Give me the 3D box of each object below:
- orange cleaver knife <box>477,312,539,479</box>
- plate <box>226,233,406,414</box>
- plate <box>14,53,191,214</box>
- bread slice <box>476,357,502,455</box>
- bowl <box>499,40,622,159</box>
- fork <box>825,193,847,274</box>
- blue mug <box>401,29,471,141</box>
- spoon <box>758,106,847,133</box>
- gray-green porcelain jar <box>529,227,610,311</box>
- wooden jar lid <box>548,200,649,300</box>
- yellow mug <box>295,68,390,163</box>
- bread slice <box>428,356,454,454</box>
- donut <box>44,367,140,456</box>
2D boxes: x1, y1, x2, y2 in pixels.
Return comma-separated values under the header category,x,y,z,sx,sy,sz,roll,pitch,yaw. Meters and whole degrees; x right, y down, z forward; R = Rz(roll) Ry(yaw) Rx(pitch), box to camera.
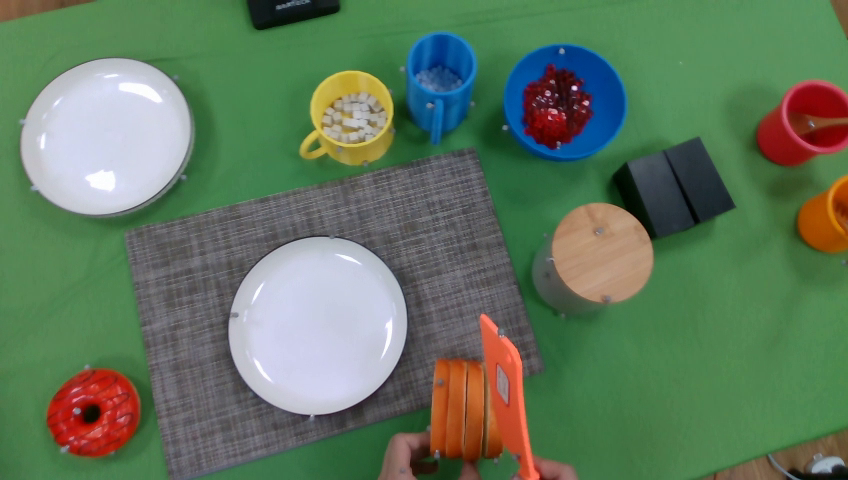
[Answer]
category,x,y,z,sx,sy,sz,roll,pitch,yaw
orange cleaver knife,0.077,0.165,0.529,0.012,0.076,0.212,-17,105,-17
plate,-0.124,0.096,0.713,0.209,0.038,0.208,1,77,-2
plate,-0.392,-0.130,0.754,0.208,0.039,0.206,1,78,-3
bread slice,0.069,0.178,0.649,0.019,0.132,0.104,1,78,0
bowl,0.164,-0.165,0.766,0.151,0.077,0.150,1,78,-2
fork,0.492,-0.010,0.711,0.028,0.018,0.207,46,36,1
blue mug,0.012,-0.181,0.749,0.082,0.106,0.116,4,77,-1
spoon,0.517,-0.149,0.744,0.192,0.022,0.041,11,67,46
gray-green porcelain jar,0.181,0.026,0.701,0.106,0.127,0.105,1,77,-3
wooden jar lid,0.183,0.011,0.640,0.108,0.021,0.108,1,78,-5
yellow mug,-0.106,-0.145,0.756,0.131,0.064,0.099,-37,81,-8
bread slice,0.019,0.175,0.654,0.018,0.135,0.106,1,72,6
donut,-0.371,0.192,0.681,0.099,0.048,0.098,1,77,-5
